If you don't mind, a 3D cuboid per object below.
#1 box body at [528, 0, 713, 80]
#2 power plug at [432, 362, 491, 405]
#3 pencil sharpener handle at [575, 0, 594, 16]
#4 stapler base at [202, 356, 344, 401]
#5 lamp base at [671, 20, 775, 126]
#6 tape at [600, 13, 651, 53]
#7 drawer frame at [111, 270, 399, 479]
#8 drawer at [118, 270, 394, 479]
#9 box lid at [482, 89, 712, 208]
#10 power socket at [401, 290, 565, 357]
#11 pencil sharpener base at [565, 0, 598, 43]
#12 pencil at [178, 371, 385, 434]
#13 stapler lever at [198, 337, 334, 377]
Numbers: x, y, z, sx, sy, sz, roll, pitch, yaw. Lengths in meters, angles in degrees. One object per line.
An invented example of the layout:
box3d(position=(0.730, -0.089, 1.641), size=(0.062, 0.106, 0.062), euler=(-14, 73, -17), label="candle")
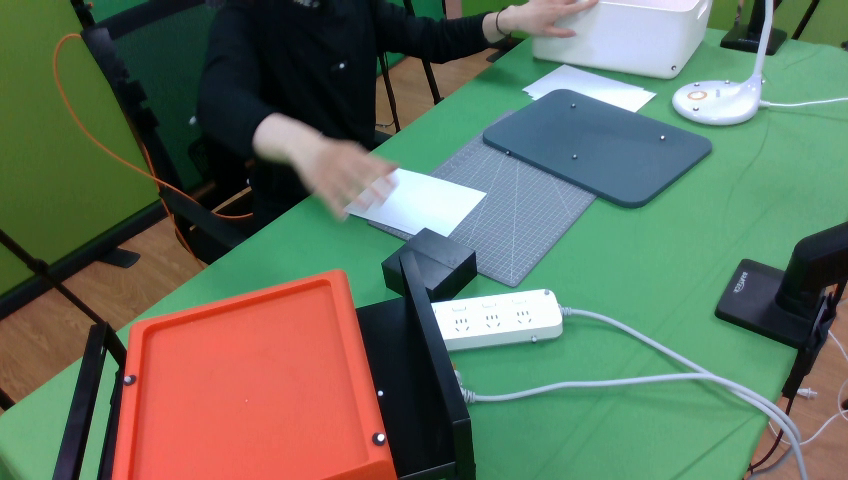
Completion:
box3d(position=(0.451, -0.513, 1.398), size=(0.361, 0.161, 0.254), euler=(19, 47, 28), label="box body")
box3d(position=(0.044, 0.182, 0.759), size=(0.073, 0.035, 0.052), euler=(23, 42, -19), label="power plug")
box3d(position=(0.401, -0.594, 1.512), size=(0.036, 0.067, 0.030), euler=(35, 48, 0), label="pencil sharpener handle")
box3d(position=(-0.142, 0.124, 0.557), size=(0.130, 0.024, 0.041), euler=(-2, 43, 3), label="stapler base")
box3d(position=(0.582, -0.332, 1.153), size=(0.179, 0.181, 0.160), euler=(2, 41, 7), label="lamp base")
box3d(position=(0.484, -0.497, 1.451), size=(0.117, 0.053, 0.116), euler=(-4, 41, 4), label="tape")
box3d(position=(-0.140, 0.140, 0.506), size=(0.202, 0.083, 0.212), euler=(-15, 41, -9), label="drawer frame")
box3d(position=(-0.141, 0.139, 0.509), size=(0.195, 0.073, 0.210), euler=(-14, 41, -8), label="drawer")
box3d(position=(0.320, -0.190, 1.156), size=(0.264, 0.015, 0.368), euler=(-33, 47, -28), label="box lid")
box3d(position=(0.080, 0.113, 0.821), size=(0.227, 0.033, 0.072), euler=(-6, 41, 0), label="power socket")
box3d(position=(0.388, -0.550, 1.484), size=(0.061, 0.107, 0.077), euler=(13, 44, 23), label="pencil sharpener base")
box3d(position=(-0.128, 0.141, 0.534), size=(0.194, 0.012, 0.012), euler=(14, 44, 7), label="pencil")
box3d(position=(-0.142, 0.105, 0.541), size=(0.118, 0.040, 0.026), euler=(-3, 43, 4), label="stapler lever")
